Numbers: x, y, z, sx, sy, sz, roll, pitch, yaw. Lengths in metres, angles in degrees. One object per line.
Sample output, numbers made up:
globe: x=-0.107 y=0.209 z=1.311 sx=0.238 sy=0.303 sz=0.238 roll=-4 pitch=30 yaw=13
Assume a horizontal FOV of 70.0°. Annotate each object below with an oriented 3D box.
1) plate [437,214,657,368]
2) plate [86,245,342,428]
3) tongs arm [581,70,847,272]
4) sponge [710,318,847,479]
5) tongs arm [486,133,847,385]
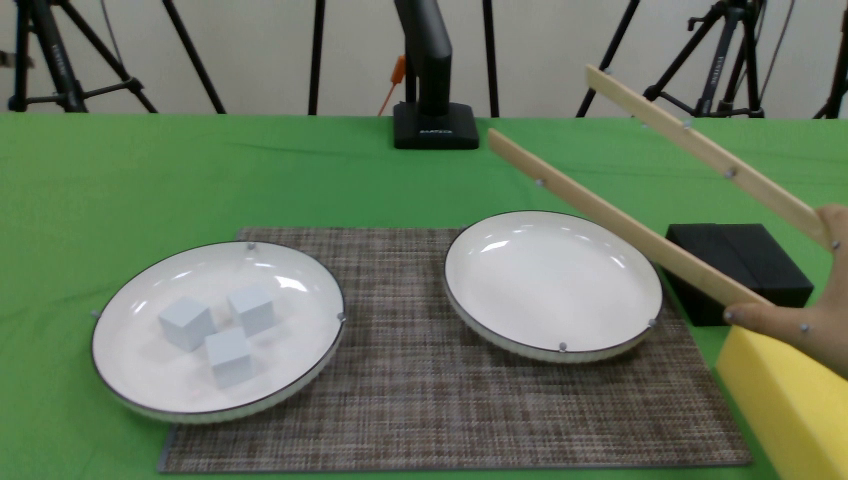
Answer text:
plate: x=0.116 y=0.049 z=0.591 sx=0.208 sy=0.039 sz=0.205 roll=2 pitch=38 yaw=-1
plate: x=-0.176 y=0.081 z=0.531 sx=0.209 sy=0.038 sz=0.207 roll=2 pitch=37 yaw=-1
tongs arm: x=0.236 y=-0.023 z=0.448 sx=0.051 sy=0.027 sz=0.380 roll=-33 pitch=54 yaw=-14
sponge: x=0.325 y=0.154 z=0.457 sx=0.118 sy=0.061 sz=0.204 roll=-3 pitch=38 yaw=-6
tongs arm: x=0.185 y=0.012 z=0.432 sx=0.028 sy=0.028 sz=0.383 roll=-37 pitch=55 yaw=-22
